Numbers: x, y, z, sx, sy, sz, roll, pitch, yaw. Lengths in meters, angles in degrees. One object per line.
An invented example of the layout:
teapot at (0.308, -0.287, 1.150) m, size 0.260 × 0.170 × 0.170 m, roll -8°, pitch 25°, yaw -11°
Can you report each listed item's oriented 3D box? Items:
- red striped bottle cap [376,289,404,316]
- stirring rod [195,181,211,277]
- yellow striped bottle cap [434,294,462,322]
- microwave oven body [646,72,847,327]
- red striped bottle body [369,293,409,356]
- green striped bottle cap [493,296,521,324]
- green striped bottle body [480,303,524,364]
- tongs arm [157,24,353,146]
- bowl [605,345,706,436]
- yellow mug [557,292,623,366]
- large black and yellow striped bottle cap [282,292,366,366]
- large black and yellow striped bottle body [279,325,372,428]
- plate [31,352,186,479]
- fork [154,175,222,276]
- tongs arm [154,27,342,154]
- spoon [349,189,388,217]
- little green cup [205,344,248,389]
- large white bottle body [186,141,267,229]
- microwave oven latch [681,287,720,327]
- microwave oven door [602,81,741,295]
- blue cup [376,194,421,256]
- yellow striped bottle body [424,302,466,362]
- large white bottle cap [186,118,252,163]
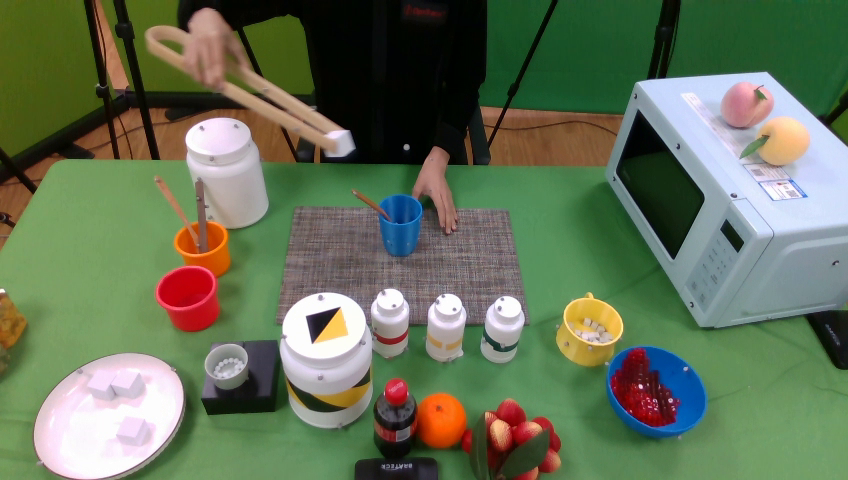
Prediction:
red striped bottle cap at (-0.054, 0.098, 0.958) m, size 0.044 × 0.018 × 0.044 m, roll -1°, pitch 48°, yaw 1°
stirring rod at (-0.403, -0.020, 1.104) m, size 0.014 × 0.006 × 0.176 m, roll -6°, pitch 89°, yaw -9°
yellow striped bottle cap at (0.038, 0.107, 0.958) m, size 0.044 × 0.019 × 0.044 m, roll 2°, pitch 45°, yaw -2°
microwave oven body at (0.607, -0.089, 1.164) m, size 0.326 × 0.261 × 0.438 m, roll -7°, pitch 46°, yaw -10°
red striped bottle body at (-0.059, 0.134, 0.997) m, size 0.063 × 0.120 × 0.062 m, roll 5°, pitch 47°, yaw -5°
green striped bottle cap at (0.133, 0.111, 0.962) m, size 0.044 × 0.020 × 0.044 m, roll 2°, pitch 47°, yaw -2°
green striped bottle body at (0.129, 0.147, 1.000) m, size 0.063 × 0.120 × 0.063 m, roll 2°, pitch 46°, yaw -2°
tongs arm at (-0.278, -0.252, 0.981) m, size 0.384 × 0.026 × 0.050 m, roll 35°, pitch 47°, yaw 14°
bowl at (0.351, 0.247, 0.950) m, size 0.151 × 0.077 × 0.150 m, roll 2°, pitch 46°, yaw -2°
yellow mug at (0.285, 0.145, 1.051) m, size 0.100 × 0.064 × 0.130 m, roll 7°, pitch 46°, yaw 4°
large black and yellow striped bottle cap at (-0.138, 0.121, 0.841) m, size 0.115 × 0.019 × 0.114 m, roll 3°, pitch 47°, yaw -3°
large black and yellow striped bottle body at (-0.143, 0.181, 0.900) m, size 0.131 × 0.185 × 0.130 m, roll 2°, pitch 46°, yaw -2°
plate at (-0.459, 0.262, 0.898) m, size 0.209 × 0.038 × 0.208 m, roll 2°, pitch 46°, yaw -2°
fork at (-0.431, -0.027, 1.101) m, size 0.028 × 0.018 × 0.207 m, roll -33°, pitch 100°, yaw -25°
tongs arm at (-0.289, -0.240, 0.966) m, size 0.387 × 0.028 × 0.028 m, roll 31°, pitch 50°, yaw 10°
spoon at (-0.077, -0.045, 1.120) m, size 0.021 × 0.195 × 0.041 m, roll -36°, pitch 47°, yaw 7°
little green cup at (-0.294, 0.191, 0.909) m, size 0.061 × 0.039 × 0.061 m, roll 2°, pitch 47°, yaw -1°
large white bottle body at (-0.382, -0.127, 1.176) m, size 0.131 × 0.185 × 0.130 m, roll 2°, pitch 46°, yaw -2°
microwave oven latch at (0.494, 0.119, 1.087) m, size 0.030 × 0.029 × 0.078 m, roll -5°, pitch 46°, yaw -9°
microwave oven door at (0.456, -0.107, 1.162) m, size 0.039 × 0.245 × 0.353 m, roll -7°, pitch 47°, yaw -11°
blue cup at (-0.049, -0.023, 1.157) m, size 0.093 × 0.101 × 0.092 m, roll 2°, pitch 48°, yaw -1°
yellow striped bottle body at (0.035, 0.143, 0.996) m, size 0.063 × 0.121 × 0.062 m, roll 3°, pitch 46°, yaw -3°
large white bottle cap at (-0.377, -0.185, 1.115) m, size 0.115 × 0.018 × 0.114 m, roll 3°, pitch 46°, yaw -2°
